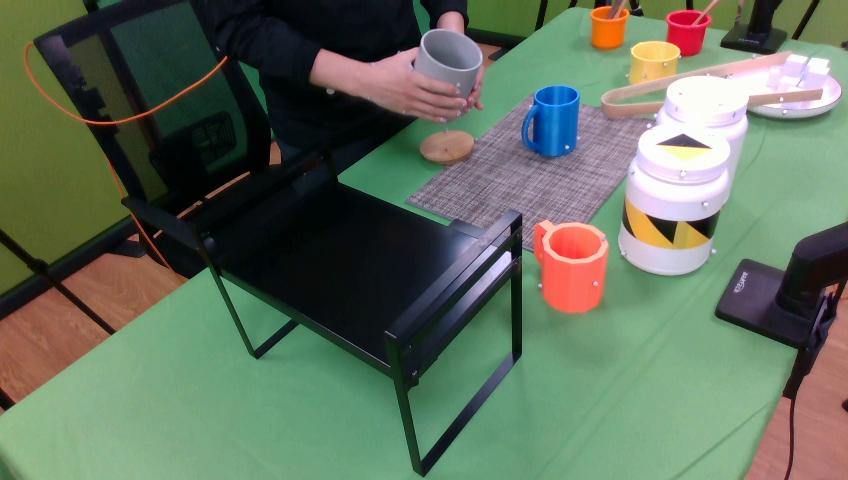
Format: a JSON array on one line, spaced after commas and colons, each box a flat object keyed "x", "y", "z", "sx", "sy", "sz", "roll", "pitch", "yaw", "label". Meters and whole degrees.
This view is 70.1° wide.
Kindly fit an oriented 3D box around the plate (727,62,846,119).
[{"x": 0.709, "y": -0.292, "z": 1.197, "sx": 0.207, "sy": 0.039, "sz": 0.206, "roll": -4, "pitch": 40, "yaw": 4, "label": "plate"}]

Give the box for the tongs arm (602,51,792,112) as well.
[{"x": 0.552, "y": -0.320, "z": 1.224, "sx": 0.384, "sy": 0.027, "sz": 0.050, "roll": -10, "pitch": 43, "yaw": 7, "label": "tongs arm"}]

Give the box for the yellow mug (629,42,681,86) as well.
[{"x": 0.495, "y": -0.389, "z": 1.321, "sx": 0.100, "sy": 0.064, "sz": 0.130, "roll": -14, "pitch": 40, "yaw": -6, "label": "yellow mug"}]

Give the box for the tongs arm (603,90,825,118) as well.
[{"x": 0.546, "y": -0.262, "z": 1.163, "sx": 0.386, "sy": 0.028, "sz": 0.028, "roll": -1, "pitch": 49, "yaw": 18, "label": "tongs arm"}]

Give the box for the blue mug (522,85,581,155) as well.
[{"x": 0.233, "y": -0.218, "z": 1.127, "sx": 0.117, "sy": 0.106, "sz": 0.081, "roll": -23, "pitch": 43, "yaw": -16, "label": "blue mug"}]

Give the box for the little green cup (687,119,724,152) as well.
[{"x": 0.514, "y": -0.191, "z": 1.109, "sx": 0.061, "sy": 0.039, "sz": 0.061, "roll": -5, "pitch": 40, "yaw": 5, "label": "little green cup"}]

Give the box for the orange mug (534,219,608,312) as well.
[{"x": 0.200, "y": 0.027, "z": 0.858, "sx": 0.084, "sy": 0.101, "sz": 0.125, "roll": -24, "pitch": 47, "yaw": -18, "label": "orange mug"}]

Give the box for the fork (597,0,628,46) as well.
[{"x": 0.479, "y": -0.558, "z": 1.455, "sx": 0.028, "sy": 0.019, "sz": 0.207, "roll": 35, "pitch": 100, "yaw": 38, "label": "fork"}]

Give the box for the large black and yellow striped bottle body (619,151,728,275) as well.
[{"x": 0.354, "y": -0.056, "z": 0.865, "sx": 0.131, "sy": 0.185, "sz": 0.130, "roll": -4, "pitch": 41, "yaw": 4, "label": "large black and yellow striped bottle body"}]

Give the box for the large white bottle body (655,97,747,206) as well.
[{"x": 0.431, "y": -0.148, "z": 0.959, "sx": 0.130, "sy": 0.185, "sz": 0.130, "roll": -4, "pitch": 41, "yaw": 4, "label": "large white bottle body"}]

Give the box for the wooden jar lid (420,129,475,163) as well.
[{"x": 0.047, "y": -0.183, "z": 1.183, "sx": 0.108, "sy": 0.021, "sz": 0.108, "roll": -6, "pitch": 37, "yaw": 5, "label": "wooden jar lid"}]

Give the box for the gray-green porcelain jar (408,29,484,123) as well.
[{"x": 0.032, "y": -0.272, "z": 1.026, "sx": 0.106, "sy": 0.126, "sz": 0.105, "roll": 9, "pitch": 52, "yaw": -12, "label": "gray-green porcelain jar"}]

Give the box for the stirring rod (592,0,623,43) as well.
[{"x": 0.460, "y": -0.557, "z": 1.461, "sx": 0.014, "sy": 0.176, "sz": 0.006, "roll": 35, "pitch": 11, "yaw": 22, "label": "stirring rod"}]

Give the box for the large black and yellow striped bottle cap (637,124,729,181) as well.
[{"x": 0.346, "y": -0.119, "z": 0.810, "sx": 0.115, "sy": 0.019, "sz": 0.114, "roll": -5, "pitch": 41, "yaw": 5, "label": "large black and yellow striped bottle cap"}]

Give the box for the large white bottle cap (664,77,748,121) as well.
[{"x": 0.421, "y": -0.212, "z": 0.905, "sx": 0.115, "sy": 0.018, "sz": 0.114, "roll": -4, "pitch": 40, "yaw": 4, "label": "large white bottle cap"}]

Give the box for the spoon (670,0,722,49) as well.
[{"x": 0.639, "y": -0.510, "z": 1.380, "sx": 0.193, "sy": 0.022, "sz": 0.041, "roll": -49, "pitch": 40, "yaw": 19, "label": "spoon"}]
